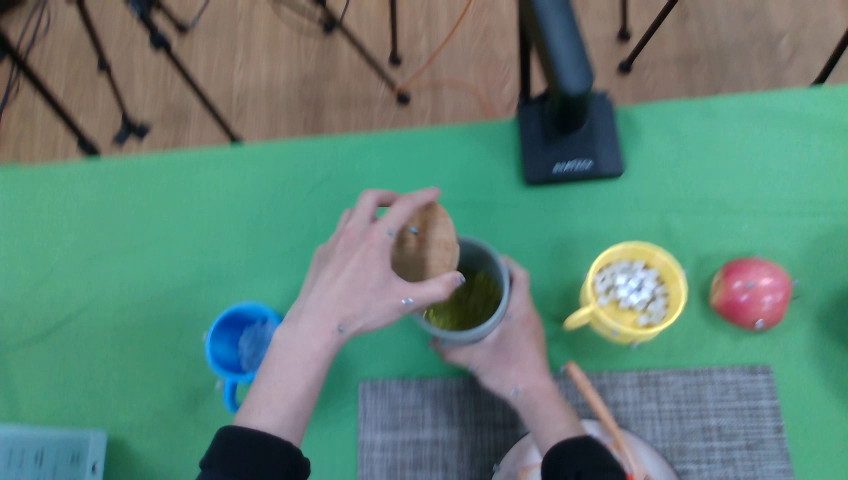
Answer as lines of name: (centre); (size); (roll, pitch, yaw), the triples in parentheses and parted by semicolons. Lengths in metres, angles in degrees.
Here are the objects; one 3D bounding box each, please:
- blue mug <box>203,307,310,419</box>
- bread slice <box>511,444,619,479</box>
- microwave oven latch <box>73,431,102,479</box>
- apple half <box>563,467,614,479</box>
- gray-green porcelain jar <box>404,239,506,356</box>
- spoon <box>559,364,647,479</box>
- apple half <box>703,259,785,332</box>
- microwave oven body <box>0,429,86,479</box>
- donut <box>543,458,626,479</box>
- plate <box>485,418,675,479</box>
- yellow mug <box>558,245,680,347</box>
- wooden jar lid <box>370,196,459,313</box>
blue mug: (-0.188, 0.141, 0.671); (0.082, 0.106, 0.116); (16, 75, 13)
bread slice: (0.162, 0.285, 0.609); (0.107, 0.018, 0.133); (-21, 70, 3)
microwave oven latch: (-0.385, 0.255, 0.676); (0.030, 0.030, 0.078); (1, 73, 8)
apple half: (0.149, 0.251, 0.553); (0.081, 0.033, 0.080); (-5, 69, 13)
gray-green porcelain jar: (0.035, 0.068, 0.653); (0.106, 0.127, 0.105); (-2, 71, 7)
spoon: (0.194, 0.210, 0.611); (0.041, 0.022, 0.193); (-29, 79, -5)
apple half: (0.348, 0.055, 0.654); (0.074, 0.054, 0.080); (17, 75, 15)
microwave oven body: (-0.538, 0.403, 0.547); (0.326, 0.262, 0.439); (-4, 72, 6)
donut: (0.157, 0.262, 0.586); (0.099, 0.048, 0.098); (-2, 72, 8)
plate: (0.157, 0.287, 0.608); (0.207, 0.039, 0.206); (-2, 72, 7)
yellow mug: (0.206, 0.069, 0.661); (0.131, 0.064, 0.099); (-27, 70, -1)
wooden jar lid: (-0.008, 0.015, 0.554); (0.108, 0.021, 0.108); (-15, 68, 44)
